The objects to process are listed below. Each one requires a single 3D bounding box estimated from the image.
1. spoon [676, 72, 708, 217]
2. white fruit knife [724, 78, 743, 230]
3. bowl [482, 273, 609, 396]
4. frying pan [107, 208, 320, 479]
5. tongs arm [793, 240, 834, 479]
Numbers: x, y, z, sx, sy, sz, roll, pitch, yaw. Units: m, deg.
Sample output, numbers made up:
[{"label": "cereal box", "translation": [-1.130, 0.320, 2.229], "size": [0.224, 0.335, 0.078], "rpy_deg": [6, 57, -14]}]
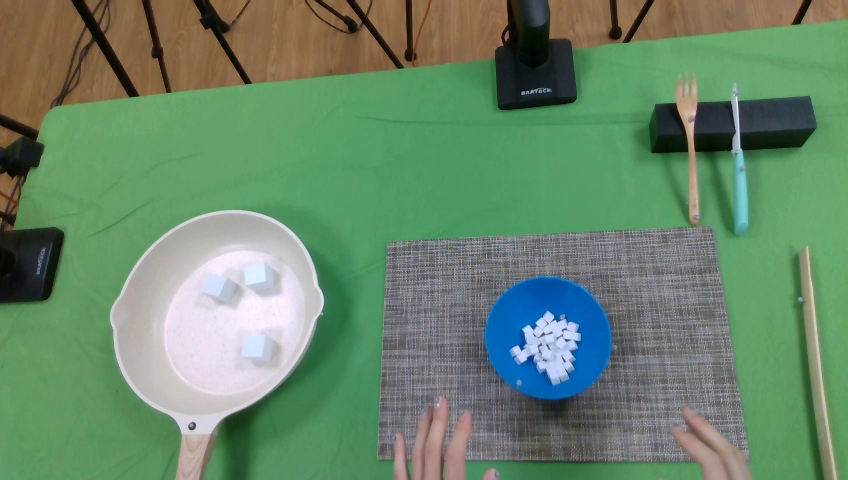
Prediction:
[{"label": "spoon", "translation": [0.357, -0.128, 0.820], "size": [0.041, 0.022, 0.193], "rpy_deg": [4, 90, 34]}, {"label": "white fruit knife", "translation": [0.412, -0.117, 0.812], "size": [0.016, 0.027, 0.207], "rpy_deg": [-1, 83, 5]}, {"label": "bowl", "translation": [0.150, 0.124, 0.760], "size": [0.151, 0.077, 0.150], "rpy_deg": [-3, 68, 8]}, {"label": "frying pan", "translation": [-0.287, 0.190, 0.798], "size": [0.306, 0.104, 0.483], "rpy_deg": [-3, 60, 9]}, {"label": "tongs arm", "translation": [0.471, 0.183, 0.714], "size": [0.028, 0.028, 0.385], "rpy_deg": [1, 69, 8]}]
